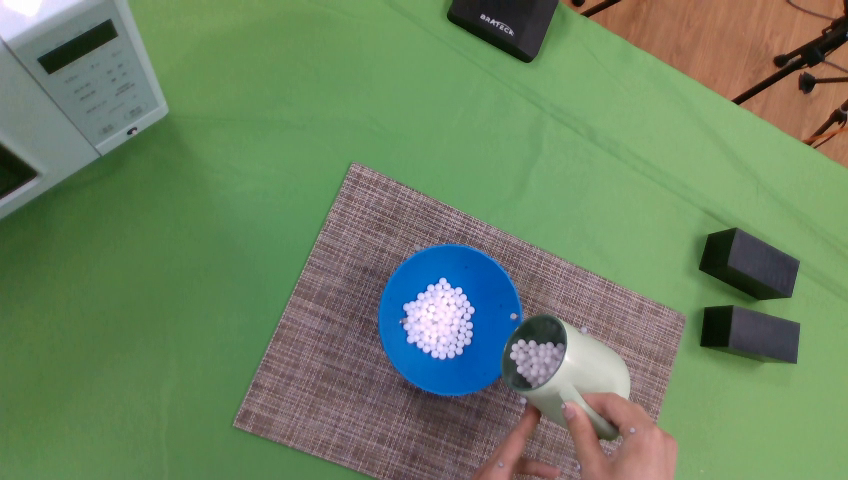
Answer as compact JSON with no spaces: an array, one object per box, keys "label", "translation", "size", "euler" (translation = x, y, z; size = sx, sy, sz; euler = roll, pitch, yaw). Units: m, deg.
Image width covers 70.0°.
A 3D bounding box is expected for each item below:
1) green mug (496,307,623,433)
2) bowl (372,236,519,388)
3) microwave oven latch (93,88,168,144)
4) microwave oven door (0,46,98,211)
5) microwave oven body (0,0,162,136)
[{"label":"green mug","translation":[0.137,0.131,0.577],"size":[0.106,0.124,0.092],"euler":[37,101,-31]},{"label":"bowl","translation":[0.015,0.075,0.632],"size":[0.152,0.077,0.151],"euler":[2,82,-15]},{"label":"microwave oven latch","translation":[-0.287,-0.127,0.582],"size":[0.079,0.029,0.030],"euler":[-37,93,-16]},{"label":"microwave oven door","translation":[-0.427,-0.011,0.422],"size":[0.355,0.243,0.039],"euler":[-39,92,-17]},{"label":"microwave oven body","translation":[-0.487,-0.151,0.430],"size":[0.441,0.260,0.326],"euler":[-39,94,-16]}]
